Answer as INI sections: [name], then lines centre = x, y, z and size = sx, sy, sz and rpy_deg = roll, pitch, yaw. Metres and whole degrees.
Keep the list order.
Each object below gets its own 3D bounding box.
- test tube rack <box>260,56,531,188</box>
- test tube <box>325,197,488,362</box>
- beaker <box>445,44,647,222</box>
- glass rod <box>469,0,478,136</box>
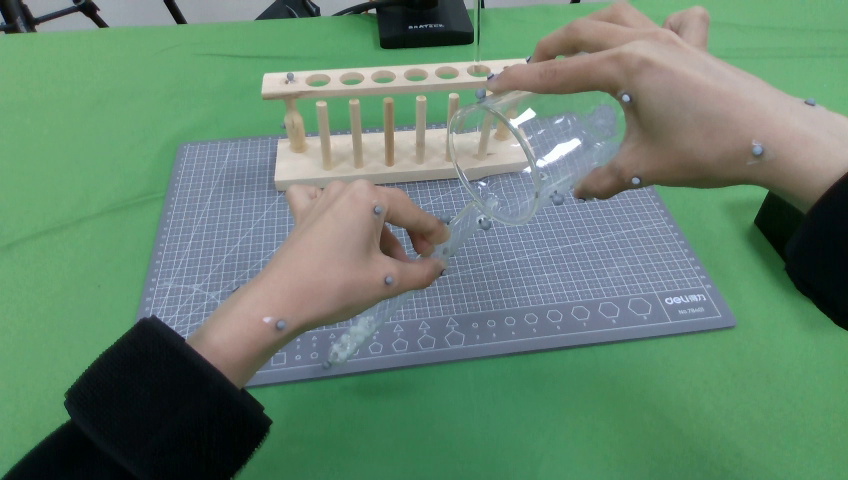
[test tube rack]
centre = -0.023, -0.110, 0.566
size = 0.243, 0.086, 0.066
rpy_deg = -5, 46, -5
[test tube]
centre = -0.015, 0.029, 0.392
size = 0.150, 0.017, 0.017
rpy_deg = -46, 47, 17
[beaker]
centre = 0.074, -0.064, 0.357
size = 0.100, 0.084, 0.073
rpy_deg = -31, 67, -23
[glass rod]
centre = 0.045, -0.183, 0.546
size = 0.008, 0.201, 0.008
rpy_deg = -2, 39, 2
